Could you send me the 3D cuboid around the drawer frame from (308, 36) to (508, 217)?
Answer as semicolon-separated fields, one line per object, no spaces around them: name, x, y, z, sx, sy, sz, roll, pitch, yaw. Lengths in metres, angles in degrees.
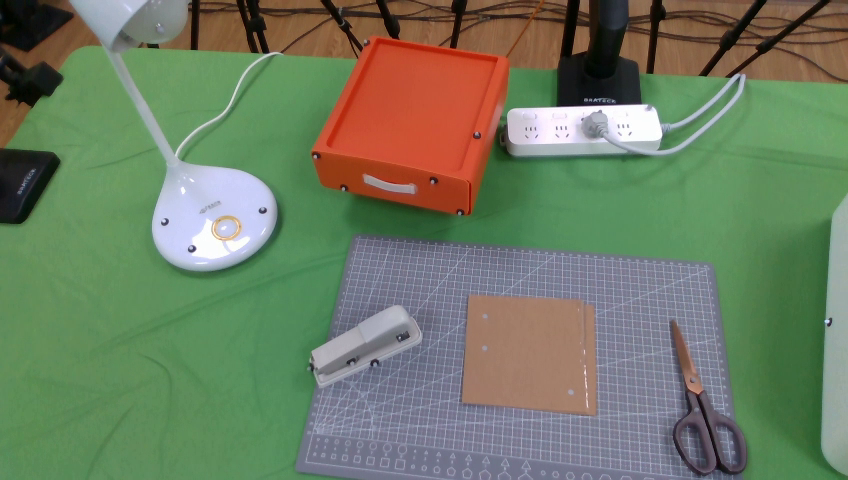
drawer frame;-0.014;-0.152;0.783;0.201;0.083;0.212;12;59;11

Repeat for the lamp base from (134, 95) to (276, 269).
lamp base;-0.289;-0.080;0.739;0.177;0.182;0.160;34;64;26

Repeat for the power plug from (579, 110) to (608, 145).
power plug;0.226;-0.143;0.815;0.035;0.053;0.072;9;58;8

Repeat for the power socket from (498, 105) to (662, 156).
power socket;0.219;-0.154;0.850;0.227;0.033;0.071;0;57;3

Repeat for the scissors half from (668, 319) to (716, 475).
scissors half;0.277;0.160;0.648;0.040;0.013;0.173;8;54;-2

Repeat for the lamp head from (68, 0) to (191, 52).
lamp head;-0.256;-0.232;0.490;0.123;0.112;0.112;45;63;-14

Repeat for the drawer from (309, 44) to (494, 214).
drawer;-0.014;-0.149;0.777;0.194;0.074;0.210;12;57;12

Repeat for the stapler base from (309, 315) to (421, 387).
stapler base;-0.067;0.120;0.688;0.131;0.024;0.041;-23;55;-10

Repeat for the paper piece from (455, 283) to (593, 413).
paper piece;0.117;0.120;0.699;0.135;0.004;0.135;10;60;17

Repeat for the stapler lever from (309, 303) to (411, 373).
stapler lever;-0.070;0.107;0.667;0.118;0.040;0.026;-23;55;-11

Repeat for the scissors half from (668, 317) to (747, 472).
scissors half;0.298;0.159;0.649;0.040;0.013;0.173;-9;56;-7

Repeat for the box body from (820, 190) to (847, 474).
box body;0.559;0.083;0.598;0.253;0.162;0.362;17;59;13

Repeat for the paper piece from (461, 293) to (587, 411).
paper piece;0.113;0.122;0.685;0.136;0.009;0.137;1;59;9
